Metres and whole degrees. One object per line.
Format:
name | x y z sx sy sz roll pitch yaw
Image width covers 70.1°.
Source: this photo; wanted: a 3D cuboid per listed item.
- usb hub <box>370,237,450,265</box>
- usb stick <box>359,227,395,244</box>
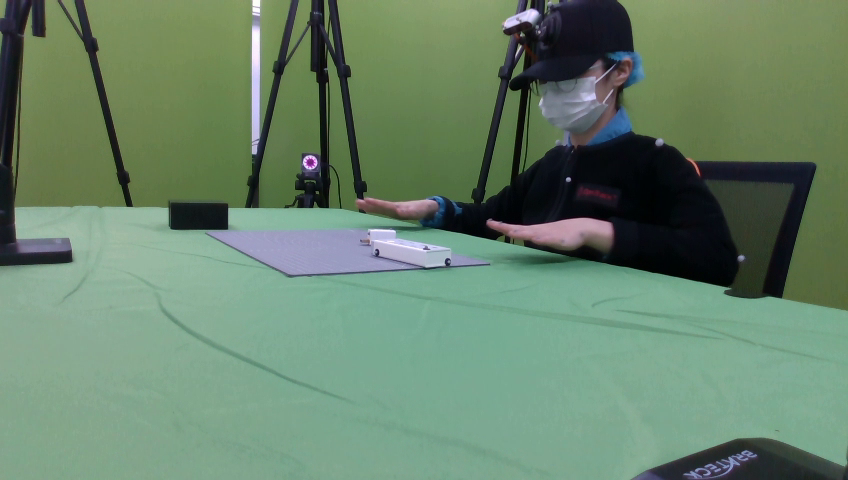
usb hub | -0.022 0.014 0.861 0.050 0.025 0.124 -5 9 -41
usb stick | -0.079 -0.007 1.009 0.059 0.027 0.021 -4 11 -19
